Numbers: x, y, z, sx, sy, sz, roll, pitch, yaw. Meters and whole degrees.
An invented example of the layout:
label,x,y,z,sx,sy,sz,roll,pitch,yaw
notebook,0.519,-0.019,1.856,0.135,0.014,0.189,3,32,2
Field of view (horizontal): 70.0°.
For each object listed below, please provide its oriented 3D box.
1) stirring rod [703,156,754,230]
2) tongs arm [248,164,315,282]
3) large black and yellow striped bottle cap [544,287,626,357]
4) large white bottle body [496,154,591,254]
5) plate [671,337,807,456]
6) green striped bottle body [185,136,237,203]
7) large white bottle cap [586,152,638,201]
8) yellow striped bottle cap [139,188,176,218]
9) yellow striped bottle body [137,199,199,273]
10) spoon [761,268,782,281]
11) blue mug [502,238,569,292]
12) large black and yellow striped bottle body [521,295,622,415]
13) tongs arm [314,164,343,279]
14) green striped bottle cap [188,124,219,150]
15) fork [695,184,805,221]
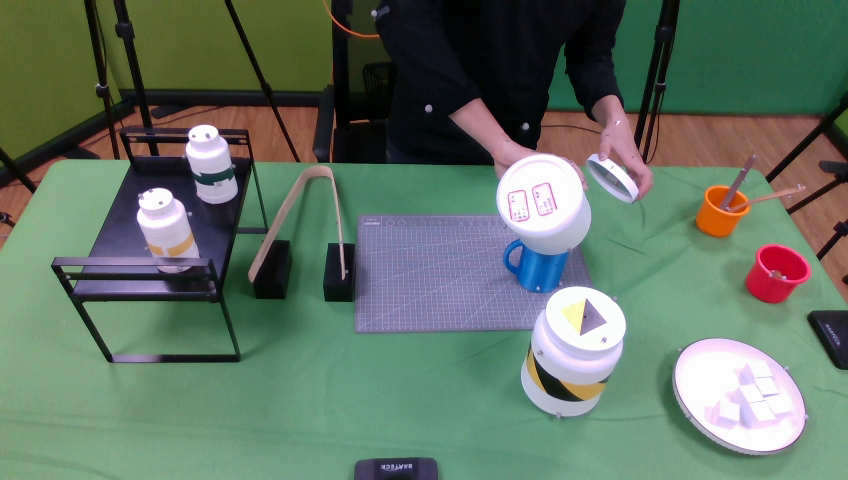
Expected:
label,x,y,z,sx,sy,sz,roll,pitch,yaw
stirring rod,0.631,-0.098,1.258,0.014,0.006,0.176,33,95,29
tongs arm,-0.270,-0.047,1.165,0.028,0.028,0.385,-1,34,7
large black and yellow striped bottle cap,0.232,0.116,0.876,0.115,0.019,0.114,2,46,-1
large white bottle body,0.199,-0.049,0.978,0.130,0.185,0.130,-5,76,19
plate,0.504,0.253,0.984,0.208,0.039,0.206,2,46,-2
green striped bottle body,-0.341,-0.122,0.968,0.063,0.120,0.063,2,46,-2
large white bottle cap,0.347,-0.118,1.121,0.018,0.115,0.114,-46,57,5
yellow striped bottle cap,-0.363,-0.050,0.826,0.044,0.019,0.044,0,47,0
yellow striped bottle body,-0.366,-0.014,0.863,0.063,0.121,0.062,2,46,-2
spoon,0.638,0.060,1.105,0.041,0.021,0.194,38,11,24
blue mug,0.203,0.031,1.121,0.116,0.106,0.082,5,46,1
large black and yellow striped bottle body,0.228,0.173,0.938,0.131,0.185,0.130,2,47,-2
tongs arm,-0.188,-0.049,1.170,0.051,0.026,0.382,-6,35,-6
green striped bottle cap,-0.339,-0.158,0.931,0.044,0.020,0.044,4,46,-4
fork,0.657,-0.075,1.230,0.207,0.019,0.028,-23,34,37
